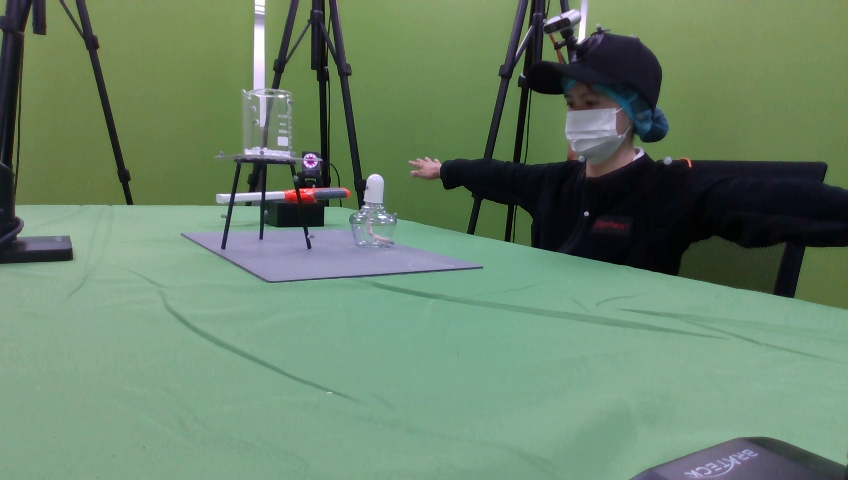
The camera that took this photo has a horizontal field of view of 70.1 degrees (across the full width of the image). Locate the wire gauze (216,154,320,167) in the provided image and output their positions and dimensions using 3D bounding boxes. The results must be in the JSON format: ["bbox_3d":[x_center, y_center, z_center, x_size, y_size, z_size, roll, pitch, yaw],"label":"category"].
[{"bbox_3d":[-0.236,-0.121,0.906,0.126,0.011,0.121,0,8,-33],"label":"wire gauze"}]

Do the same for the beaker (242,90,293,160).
[{"bbox_3d":[-0.235,-0.169,0.900,0.074,0.100,0.084,4,7,23],"label":"beaker"}]

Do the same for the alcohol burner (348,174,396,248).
[{"bbox_3d":[-0.083,-0.046,0.973,0.078,0.119,0.078,4,6,0],"label":"alcohol burner"}]

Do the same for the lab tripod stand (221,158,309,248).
[{"bbox_3d":[-0.244,-0.057,0.917,0.148,0.131,0.148,1,7,0],"label":"lab tripod stand"}]

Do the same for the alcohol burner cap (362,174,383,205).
[{"bbox_3d":[-0.081,-0.082,0.969,0.034,0.048,0.034,7,8,-1],"label":"alcohol burner cap"}]

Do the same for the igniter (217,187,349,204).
[{"bbox_3d":[-0.285,-0.093,1.256,0.278,0.025,0.057,-6,12,-34],"label":"igniter"}]
